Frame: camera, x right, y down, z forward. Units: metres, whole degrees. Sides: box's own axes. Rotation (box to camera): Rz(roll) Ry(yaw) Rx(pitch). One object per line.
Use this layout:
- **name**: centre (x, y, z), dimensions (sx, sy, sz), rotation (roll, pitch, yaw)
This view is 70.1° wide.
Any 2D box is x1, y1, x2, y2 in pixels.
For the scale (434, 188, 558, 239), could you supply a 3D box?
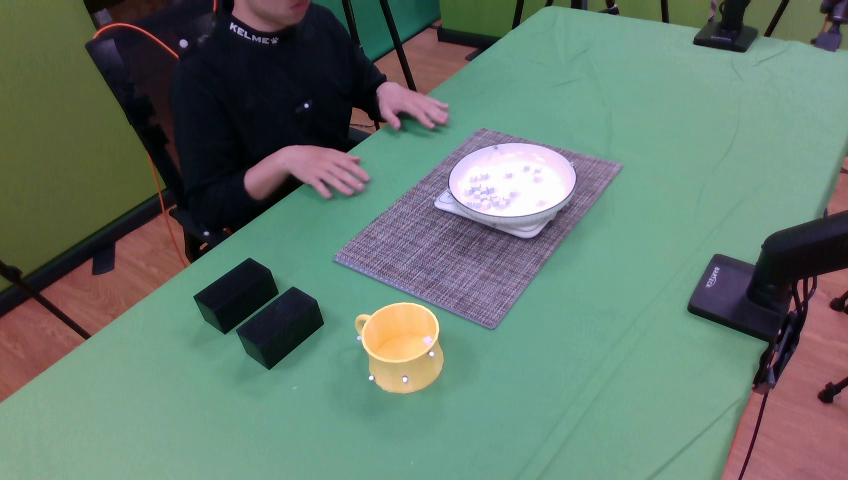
- **scale**: centre (0.132, -0.075, 1.025), dimensions (0.199, 0.032, 0.149), rotation (22, 48, 30)

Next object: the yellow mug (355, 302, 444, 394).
- **yellow mug**: centre (-0.040, 0.133, 0.786), dimensions (0.130, 0.064, 0.100), rotation (20, 47, 29)

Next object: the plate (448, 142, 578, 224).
- **plate**: centre (0.145, -0.089, 0.989), dimensions (0.209, 0.038, 0.208), rotation (-4, 41, 4)
